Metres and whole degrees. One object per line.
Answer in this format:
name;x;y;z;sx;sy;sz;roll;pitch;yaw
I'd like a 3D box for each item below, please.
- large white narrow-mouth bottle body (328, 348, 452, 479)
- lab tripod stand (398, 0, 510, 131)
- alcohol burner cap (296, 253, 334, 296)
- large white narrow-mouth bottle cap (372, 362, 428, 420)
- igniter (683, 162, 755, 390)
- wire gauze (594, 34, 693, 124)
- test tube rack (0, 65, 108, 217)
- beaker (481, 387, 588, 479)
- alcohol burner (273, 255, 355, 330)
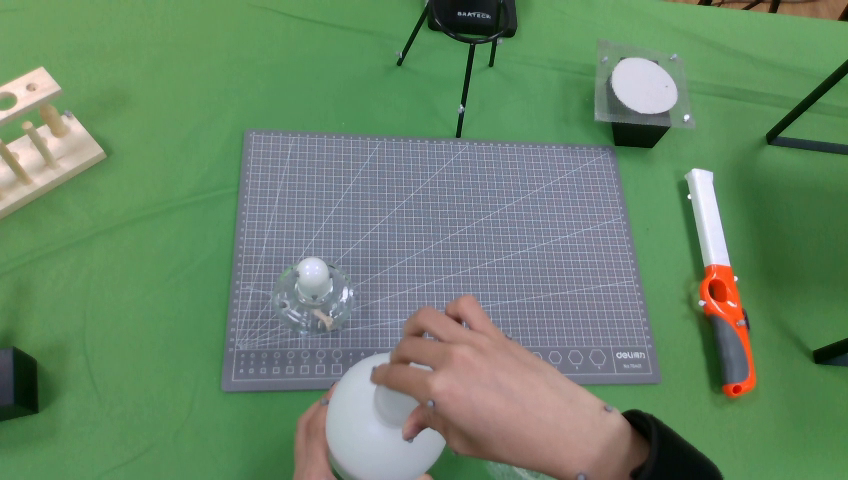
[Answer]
large white narrow-mouth bottle body;-0.029;0.144;0.499;0.102;0.195;0.101;3;65;-7
lab tripod stand;0.042;-0.225;0.708;0.149;0.132;0.147;4;66;-9
alcohol burner cap;-0.098;0.030;0.540;0.034;0.048;0.033;2;71;-5
large white narrow-mouth bottle cap;-0.016;0.102;0.411;0.038;0.024;0.037;3;65;-7
igniter;0.338;0.034;0.698;0.057;0.025;0.274;8;65;-17
wire gauze;0.268;-0.197;0.747;0.122;0.011;0.124;8;65;-5
test tube rack;-0.447;-0.063;0.583;0.242;0.085;0.066;-39;77;-22
beaker;0.093;0.181;0.554;0.084;0.101;0.073;7;64;-5
alcohol burner;-0.103;0.043;0.573;0.078;0.119;0.077;5;64;-9
